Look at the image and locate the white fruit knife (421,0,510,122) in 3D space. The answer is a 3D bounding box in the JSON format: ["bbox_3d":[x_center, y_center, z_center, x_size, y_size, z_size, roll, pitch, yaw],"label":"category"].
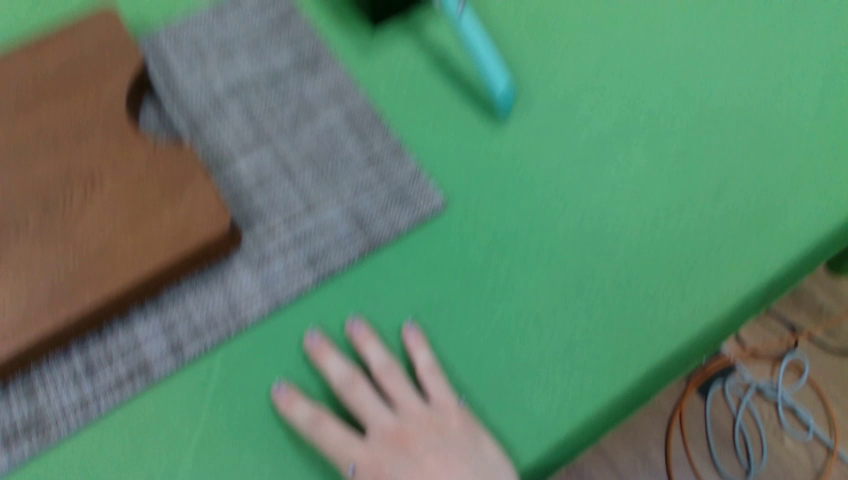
[{"bbox_3d":[0.012,-0.187,0.501,0.016,0.027,0.206,-29,79,-16],"label":"white fruit knife"}]
